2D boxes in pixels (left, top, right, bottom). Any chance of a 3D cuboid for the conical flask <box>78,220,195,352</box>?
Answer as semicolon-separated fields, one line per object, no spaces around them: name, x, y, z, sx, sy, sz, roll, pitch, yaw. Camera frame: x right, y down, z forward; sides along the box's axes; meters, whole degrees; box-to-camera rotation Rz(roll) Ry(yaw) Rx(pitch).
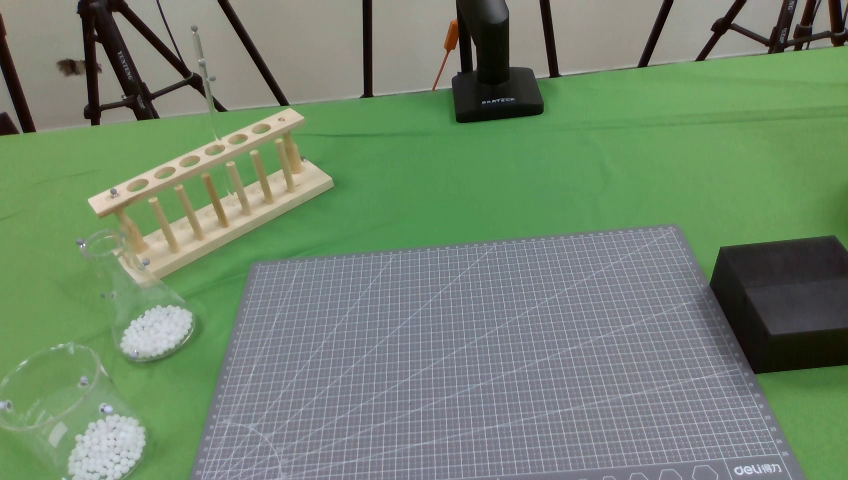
conical flask;-0.264;0.039;0.548;0.075;0.123;0.074;-4;42;4

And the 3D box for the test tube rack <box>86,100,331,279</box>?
test tube rack;-0.230;-0.063;0.681;0.242;0.086;0.066;-33;48;-25

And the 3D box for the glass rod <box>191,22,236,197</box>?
glass rod;-0.227;-0.133;0.659;0.008;0.201;0.008;-1;35;1

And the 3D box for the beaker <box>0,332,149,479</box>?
beaker;-0.264;0.131;0.466;0.074;0.101;0.083;-7;42;0
